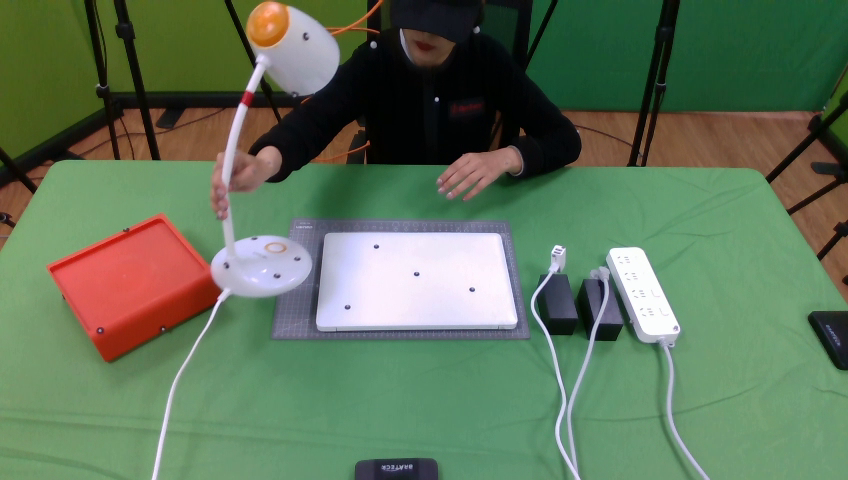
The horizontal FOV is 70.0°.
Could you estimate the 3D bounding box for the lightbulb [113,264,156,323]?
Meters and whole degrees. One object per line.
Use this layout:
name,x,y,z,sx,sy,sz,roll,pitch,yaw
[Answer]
lightbulb,-0.493,0.091,1.044,0.059,0.060,0.107,9,62,5

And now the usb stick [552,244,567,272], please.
usb stick,0.251,0.039,1.123,0.021,0.059,0.027,14,47,24

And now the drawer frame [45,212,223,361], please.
drawer frame,-0.495,0.073,1.049,0.213,0.083,0.200,-33,57,-29

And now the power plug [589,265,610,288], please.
power plug,0.317,0.073,1.108,0.035,0.053,0.072,26,34,13

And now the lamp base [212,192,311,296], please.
lamp base,-0.268,-0.018,0.955,0.160,0.181,0.178,15,38,15

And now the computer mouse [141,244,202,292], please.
computer mouse,-0.460,0.045,1.099,0.116,0.041,0.063,30,51,29

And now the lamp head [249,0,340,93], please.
lamp head,-0.196,-0.282,0.868,0.112,0.123,0.112,-2,82,19

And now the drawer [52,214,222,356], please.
drawer,-0.494,0.072,1.053,0.212,0.073,0.193,-33,57,-29

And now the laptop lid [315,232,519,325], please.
laptop lid,-0.015,0.065,1.118,0.357,0.013,0.240,1,43,-3

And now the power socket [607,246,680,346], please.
power socket,0.403,0.096,1.123,0.072,0.033,0.225,-2,46,-5

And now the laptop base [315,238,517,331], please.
laptop base,-0.016,0.075,1.125,0.355,0.023,0.234,0,42,-4
